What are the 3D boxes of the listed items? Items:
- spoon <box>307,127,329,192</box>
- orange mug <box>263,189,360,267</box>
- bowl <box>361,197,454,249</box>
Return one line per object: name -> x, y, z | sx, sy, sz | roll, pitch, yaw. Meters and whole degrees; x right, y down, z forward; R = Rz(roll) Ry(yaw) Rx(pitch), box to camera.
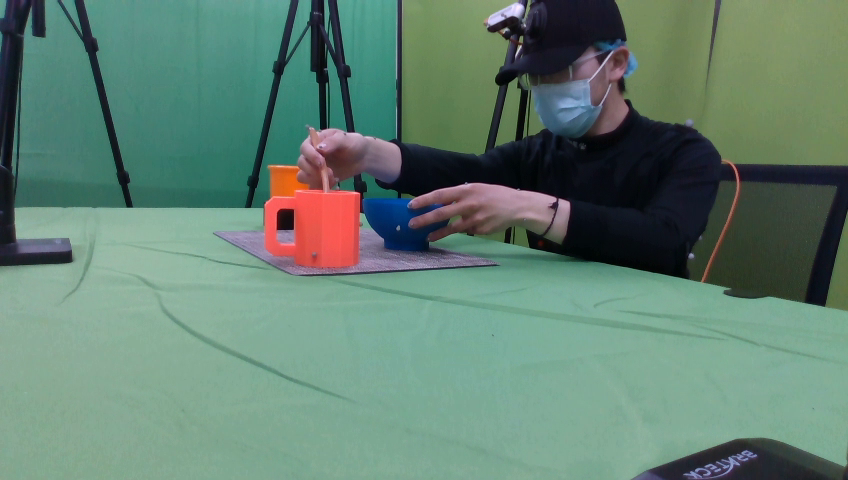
spoon -> -0.138, -0.079, 0.827 | 0.042, 0.193, 0.021 | 13, -34, -43
orange mug -> -0.147, -0.019, 0.794 | 0.127, 0.100, 0.083 | 5, 6, -20
bowl -> -0.028, -0.028, 0.984 | 0.151, 0.077, 0.151 | 2, 7, 0
